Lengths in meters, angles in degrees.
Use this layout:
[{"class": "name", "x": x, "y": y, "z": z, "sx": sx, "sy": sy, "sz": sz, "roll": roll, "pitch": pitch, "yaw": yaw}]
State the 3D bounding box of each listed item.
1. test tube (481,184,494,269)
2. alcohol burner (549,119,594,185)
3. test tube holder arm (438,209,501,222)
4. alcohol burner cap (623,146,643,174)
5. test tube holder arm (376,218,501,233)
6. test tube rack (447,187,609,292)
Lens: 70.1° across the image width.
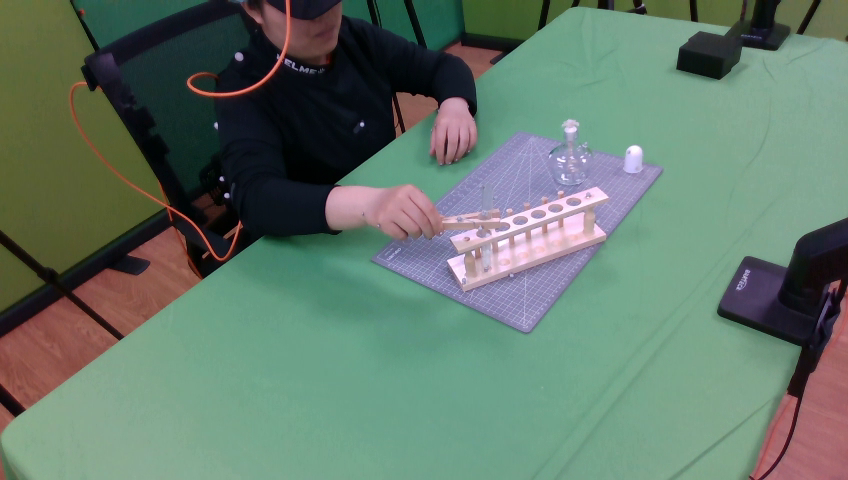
[{"class": "test tube", "x": 0.089, "y": -0.015, "z": 0.853, "sx": 0.017, "sy": 0.151, "sz": 0.017, "roll": -2, "pitch": 41, "yaw": 2}, {"class": "alcohol burner", "x": 0.254, "y": -0.155, "z": 1.043, "sx": 0.078, "sy": 0.120, "sz": 0.077, "roll": -7, "pitch": 40, "yaw": 6}, {"class": "test tube holder arm", "x": 0.063, "y": -0.028, "z": 0.847, "sx": 0.088, "sy": 0.015, "sz": 0.010, "roll": -10, "pitch": 36, "yaw": 1}, {"class": "alcohol burner cap", "x": 0.369, "y": -0.143, "z": 1.061, "sx": 0.034, "sy": 0.048, "sz": 0.033, "roll": -7, "pitch": 41, "yaw": 6}, {"class": "test tube holder arm", "x": 0.019, "y": -0.021, "z": 0.849, "sx": 0.178, "sy": 0.015, "sz": 0.013, "roll": -3, "pitch": 36, "yaw": 12}, {"class": "test tube rack", "x": 0.155, "y": -0.011, "z": 0.913, "sx": 0.243, "sy": 0.085, "sz": 0.066, "roll": -19, "pitch": 41, "yaw": -12}]
